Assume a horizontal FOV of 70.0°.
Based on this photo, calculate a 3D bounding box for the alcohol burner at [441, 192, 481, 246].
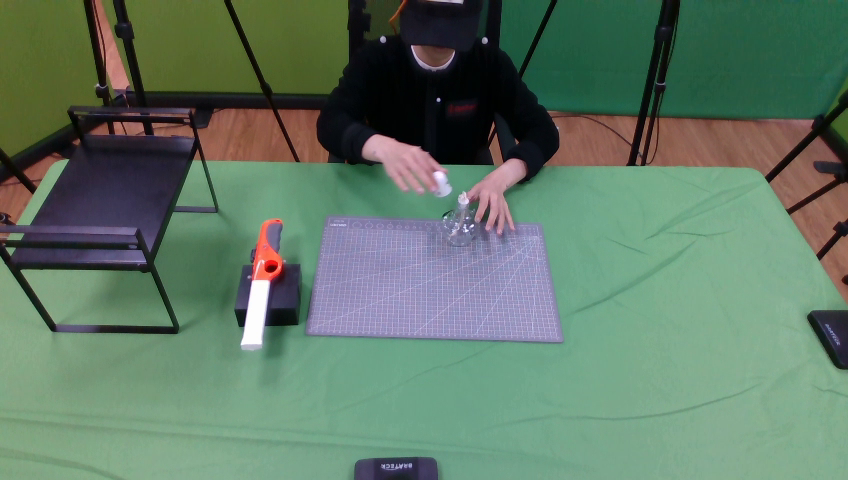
[{"bbox_3d":[0.074,-0.046,1.175,0.078,0.119,0.077,2,44,-2],"label":"alcohol burner"}]

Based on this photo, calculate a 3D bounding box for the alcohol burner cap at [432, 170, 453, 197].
[{"bbox_3d":[0.031,-0.104,1.094,0.034,0.048,0.033,-12,45,13],"label":"alcohol burner cap"}]

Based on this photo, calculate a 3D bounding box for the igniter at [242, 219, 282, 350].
[{"bbox_3d":[-0.277,0.065,1.044,0.057,0.025,0.274,1,48,-6],"label":"igniter"}]
